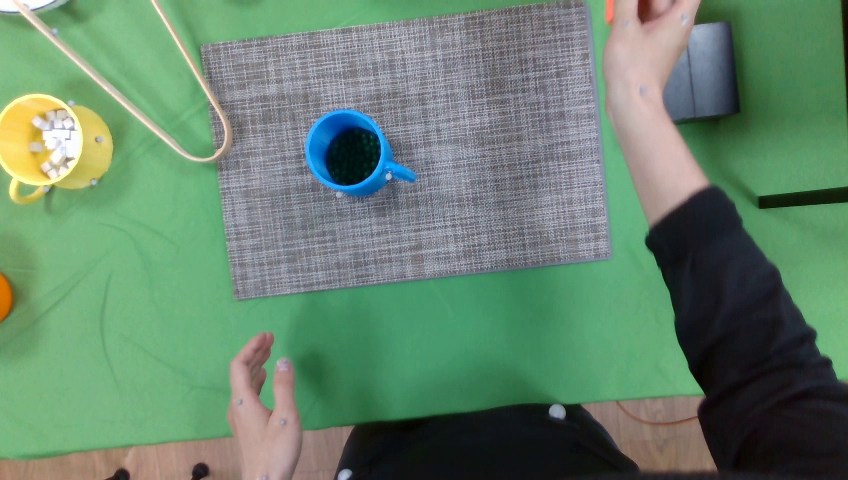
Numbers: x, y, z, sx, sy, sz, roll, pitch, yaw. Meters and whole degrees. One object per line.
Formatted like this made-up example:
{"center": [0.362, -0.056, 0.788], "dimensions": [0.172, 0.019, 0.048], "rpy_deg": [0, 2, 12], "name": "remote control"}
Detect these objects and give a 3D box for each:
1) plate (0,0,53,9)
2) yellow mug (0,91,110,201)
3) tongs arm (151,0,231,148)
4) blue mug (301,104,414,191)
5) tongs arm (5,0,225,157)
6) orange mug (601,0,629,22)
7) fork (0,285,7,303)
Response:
{"center": [-0.466, -0.365, 0.690], "dimensions": [0.208, 0.039, 0.207], "rpy_deg": [0, 93, 1], "name": "plate"}
{"center": [-0.432, -0.100, 0.689], "dimensions": [0.100, 0.064, 0.131], "rpy_deg": [32, 94, -1], "name": "yellow mug"}
{"center": [-0.321, -0.279, 0.677], "dimensions": [0.028, 0.027, 0.388], "rpy_deg": [-32, 99, -7], "name": "tongs arm"}
{"center": [-0.066, -0.092, 0.663], "dimensions": [0.116, 0.106, 0.082], "rpy_deg": [19, 92, 0], "name": "blue mug"}
{"center": [-0.386, -0.225, 0.677], "dimensions": [0.051, 0.026, 0.386], "rpy_deg": [-45, 99, -1], "name": "tongs arm"}
{"center": [0.181, -0.275, 0.571], "dimensions": [0.083, 0.101, 0.126], "rpy_deg": [-1, 98, 8], "name": "orange mug"}
{"center": [-0.577, 0.058, 0.655], "dimensions": [0.209, 0.018, 0.028], "rpy_deg": [5, 92, -43], "name": "fork"}
